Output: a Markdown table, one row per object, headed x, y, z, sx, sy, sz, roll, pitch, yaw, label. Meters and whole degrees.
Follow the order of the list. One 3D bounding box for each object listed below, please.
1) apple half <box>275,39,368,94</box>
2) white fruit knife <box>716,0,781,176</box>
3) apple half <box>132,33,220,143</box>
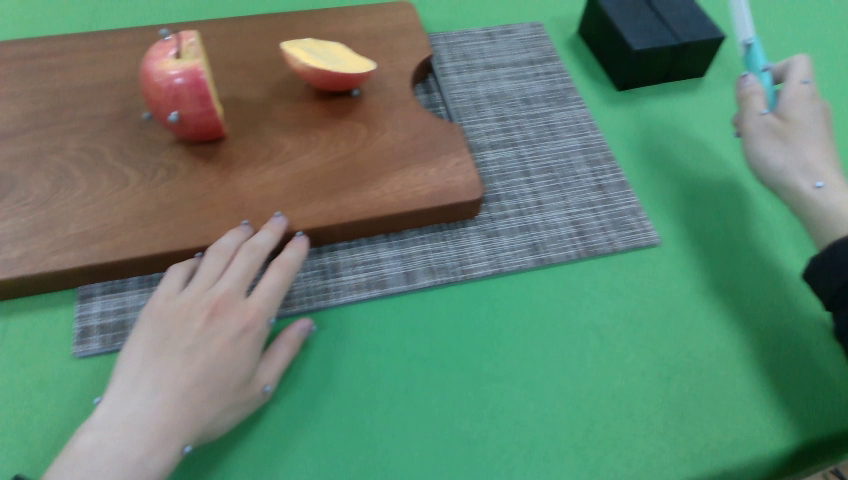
| x | y | z | sx | sy | sz | roll | pitch | yaw | label |
| --- | --- | --- | --- | --- | --- | --- | --- | --- | --- |
| -0.093 | -0.145 | 0.527 | 0.081 | 0.033 | 0.080 | 13 | 33 | -9 | apple half |
| 0.262 | -0.156 | 0.504 | 0.016 | 0.027 | 0.207 | -13 | 87 | -5 | white fruit knife |
| -0.198 | -0.115 | 0.477 | 0.053 | 0.075 | 0.080 | -18 | 62 | -12 | apple half |
